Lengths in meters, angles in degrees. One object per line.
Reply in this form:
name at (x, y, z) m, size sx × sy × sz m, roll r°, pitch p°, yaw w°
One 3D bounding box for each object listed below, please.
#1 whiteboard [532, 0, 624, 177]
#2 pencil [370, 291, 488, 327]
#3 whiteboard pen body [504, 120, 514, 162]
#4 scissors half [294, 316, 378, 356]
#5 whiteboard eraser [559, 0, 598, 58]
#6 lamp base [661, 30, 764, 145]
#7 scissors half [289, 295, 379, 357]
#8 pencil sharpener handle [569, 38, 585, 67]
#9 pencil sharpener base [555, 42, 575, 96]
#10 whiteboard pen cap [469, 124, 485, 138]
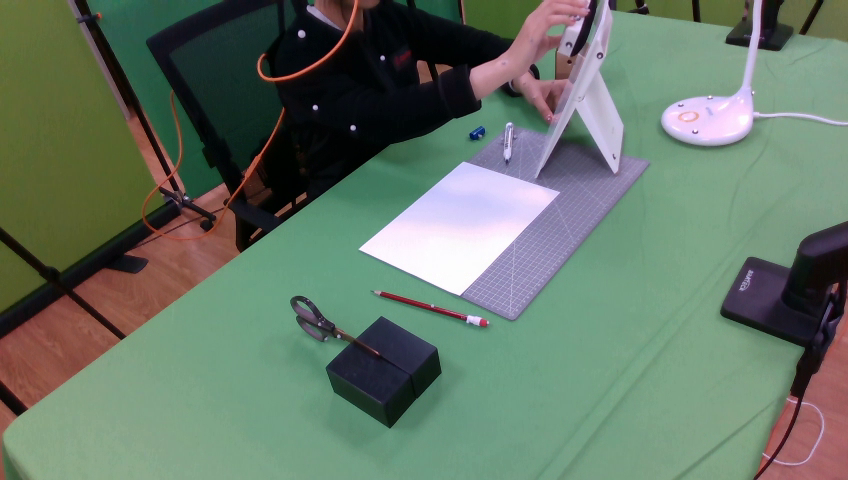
whiteboard at (0.320, -0.258, 1.050) m, size 0.144 × 0.306 × 0.217 m, roll 21°, pitch 45°, yaw 4°
pencil at (0.003, 0.097, 0.877) m, size 0.193 × 0.012 × 0.012 m, roll 13°, pitch 45°, yaw 26°
whiteboard pen body at (0.165, -0.193, 1.177) m, size 0.017 × 0.017 × 0.140 m, roll 0°, pitch 42°, yaw 11°
scissors half at (-0.119, 0.132, 0.813) m, size 0.174 × 0.040 × 0.013 m, roll 9°, pitch 32°, yaw 44°
whiteboard eraser at (0.254, -0.352, 0.984) m, size 0.042 × 0.056 × 0.112 m, roll 19°, pitch 62°, yaw 5°
lamp base at (0.535, -0.287, 1.096) m, size 0.179 × 0.181 × 0.159 m, roll -10°, pitch 40°, yaw -4°
scissors half at (-0.123, 0.114, 0.803) m, size 0.174 × 0.040 × 0.013 m, roll 26°, pitch 48°, yaw 32°
pencil sharpener handle at (0.332, -0.413, 1.318) m, size 0.036 × 0.068 × 0.030 m, roll 19°, pitch 46°, yaw 13°
pencil sharpener base at (0.318, -0.371, 1.290) m, size 0.061 × 0.107 × 0.076 m, roll 10°, pitch 44°, yaw 22°
whiteboard pen cap at (0.107, -0.220, 1.224) m, size 0.033 × 0.018 × 0.018 m, roll -37°, pitch 47°, yaw -24°
